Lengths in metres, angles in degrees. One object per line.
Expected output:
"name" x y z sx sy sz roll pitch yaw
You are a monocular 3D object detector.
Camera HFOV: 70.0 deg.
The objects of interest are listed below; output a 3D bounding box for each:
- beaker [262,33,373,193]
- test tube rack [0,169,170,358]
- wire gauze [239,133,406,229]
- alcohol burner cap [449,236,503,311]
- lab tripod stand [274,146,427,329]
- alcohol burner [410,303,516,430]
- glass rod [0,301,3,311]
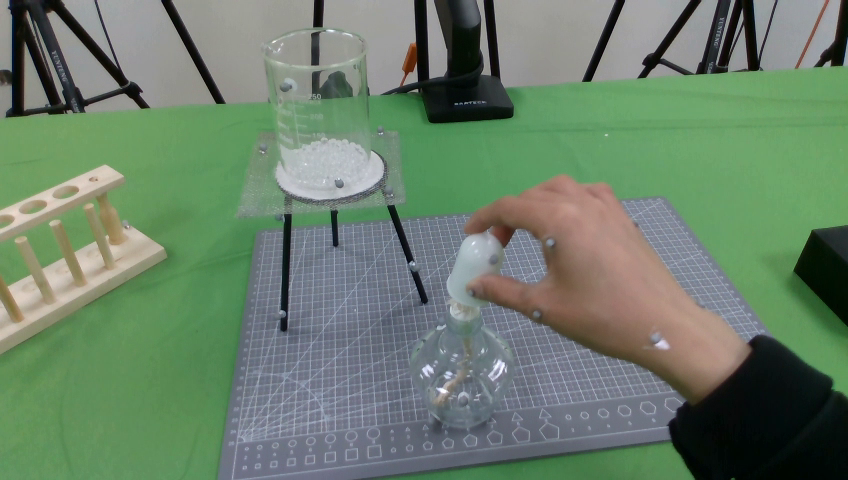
"beaker" -0.079 -0.093 0.453 0.083 0.101 0.074 20 42 22
"test tube rack" -0.356 0.034 0.524 0.066 0.086 0.242 26 45 30
"wire gauze" -0.078 -0.054 0.481 0.121 0.011 0.123 -3 40 -4
"alcohol burner cap" 0.034 0.018 0.379 0.034 0.048 0.033 4 46 -3
"lab tripod stand" -0.069 -0.004 0.524 0.148 0.132 0.147 1 37 0
"alcohol burner" 0.028 0.081 0.432 0.078 0.120 0.077 0 40 0
"glass rod" -0.380 -0.024 0.490 0.008 0.201 0.008 0 31 0
